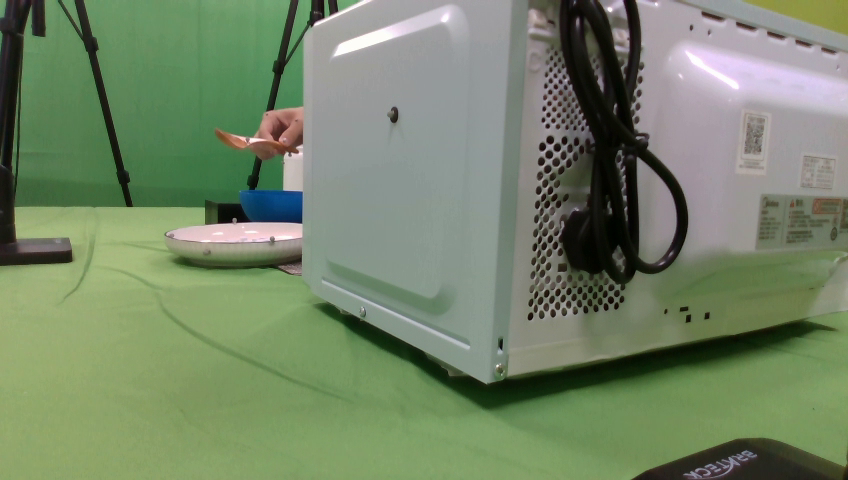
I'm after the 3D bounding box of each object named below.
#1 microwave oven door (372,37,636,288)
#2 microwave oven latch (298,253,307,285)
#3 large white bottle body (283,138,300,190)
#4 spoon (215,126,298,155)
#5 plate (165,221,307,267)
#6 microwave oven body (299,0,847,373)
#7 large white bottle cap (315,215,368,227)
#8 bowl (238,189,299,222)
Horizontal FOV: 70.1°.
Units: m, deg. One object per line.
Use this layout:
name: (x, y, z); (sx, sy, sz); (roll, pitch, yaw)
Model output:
microwave oven door: (0.110, -0.080, 0.686); (0.358, 0.243, 0.039); (-2, 9, -33)
microwave oven latch: (-0.081, 0.027, 0.582); (0.079, 0.029, 0.030); (-1, 7, -32)
large white bottle body: (-0.265, -0.144, 1.423); (0.131, 0.184, 0.130); (2, 7, 0)
spoon: (-0.247, -0.146, 0.919); (0.041, 0.021, 0.194); (41, 17, 18)
plate: (-0.241, 0.004, 0.829); (0.209, 0.038, 0.209); (0, 9, 0)
microwave oven body: (0.151, -0.055, 0.542); (0.444, 0.260, 0.324); (-2, 7, -33)
large white bottle cap: (-0.178, -0.041, 1.309); (0.115, 0.018, 0.115); (2, 6, 0)
bowl: (-0.245, -0.046, 1.053); (0.151, 0.077, 0.151); (3, 8, 0)
